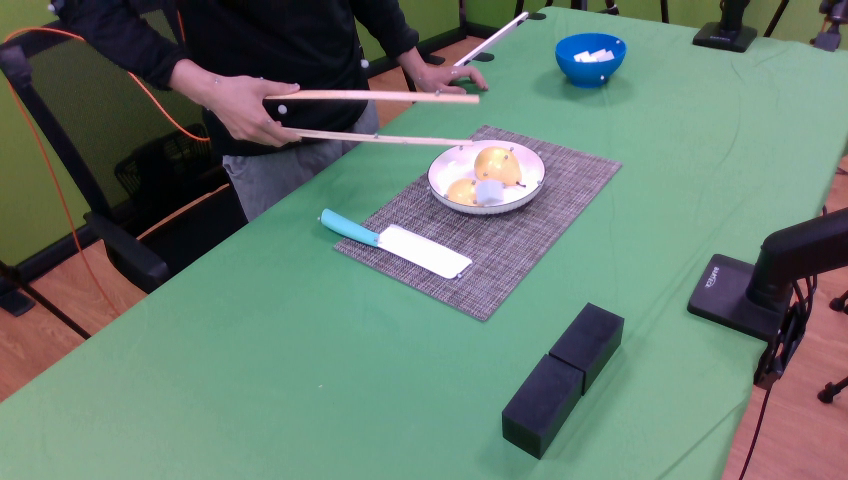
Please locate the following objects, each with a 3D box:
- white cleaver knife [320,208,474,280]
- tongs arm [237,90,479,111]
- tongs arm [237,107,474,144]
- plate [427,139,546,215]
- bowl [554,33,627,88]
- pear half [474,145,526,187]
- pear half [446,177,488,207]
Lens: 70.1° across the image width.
[{"bbox_3d":[-0.053,0.001,0.978,0.284,0.021,0.066,23,40,26],"label":"white cleaver knife"},{"bbox_3d":[-0.105,-0.226,0.974,0.388,0.028,0.027,-1,39,-3],"label":"tongs arm"},{"bbox_3d":[-0.108,-0.188,0.999,0.386,0.051,0.026,1,36,-4],"label":"tongs arm"},{"bbox_3d":[0.109,-0.106,1.058,0.207,0.039,0.206,-4,40,4],"label":"plate"},{"bbox_3d":[0.359,-0.384,1.318,0.151,0.077,0.150,-4,41,4],"label":"bowl"},{"bbox_3d":[0.140,-0.129,1.059,0.076,0.056,0.109,-37,53,-25],"label":"pear half"},{"bbox_3d":[0.073,-0.086,1.032,0.070,0.031,0.087,-20,35,-9],"label":"pear half"}]
